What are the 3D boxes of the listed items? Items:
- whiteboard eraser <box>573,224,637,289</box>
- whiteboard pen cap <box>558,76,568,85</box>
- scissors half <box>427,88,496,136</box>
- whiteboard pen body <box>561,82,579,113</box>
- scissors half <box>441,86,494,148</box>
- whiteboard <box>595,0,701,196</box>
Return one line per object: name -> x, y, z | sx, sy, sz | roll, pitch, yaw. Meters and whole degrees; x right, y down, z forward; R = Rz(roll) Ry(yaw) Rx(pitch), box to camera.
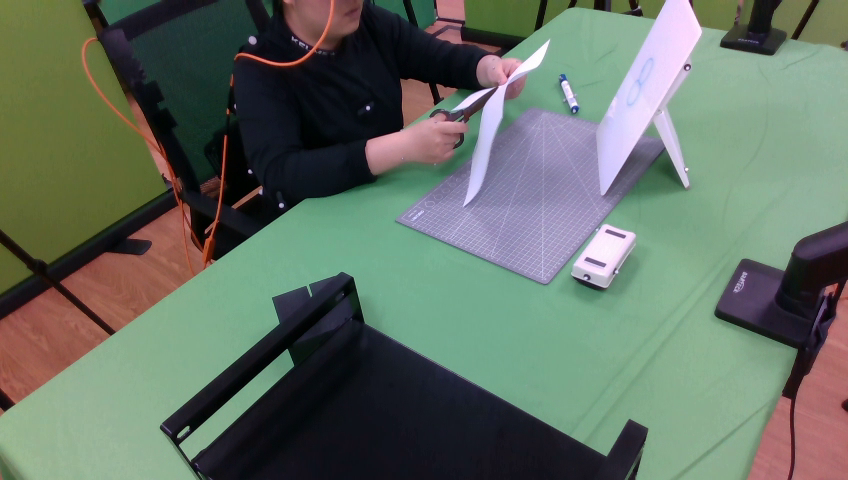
whiteboard eraser -> 0.267, 0.025, 0.891 | 0.055, 0.042, 0.113 | 19, 47, 31
whiteboard pen cap -> 0.310, -0.350, 1.341 | 0.018, 0.018, 0.033 | -6, 41, 2
scissors half -> 0.064, -0.229, 1.069 | 0.174, 0.040, 0.013 | -21, 30, 45
whiteboard pen body -> 0.310, -0.311, 1.298 | 0.017, 0.017, 0.140 | -6, 41, 2
scissors half -> 0.079, -0.216, 1.074 | 0.040, 0.175, 0.013 | 29, 54, -8
whiteboard -> 0.421, -0.227, 1.010 | 0.144, 0.305, 0.216 | 18, 42, -2
